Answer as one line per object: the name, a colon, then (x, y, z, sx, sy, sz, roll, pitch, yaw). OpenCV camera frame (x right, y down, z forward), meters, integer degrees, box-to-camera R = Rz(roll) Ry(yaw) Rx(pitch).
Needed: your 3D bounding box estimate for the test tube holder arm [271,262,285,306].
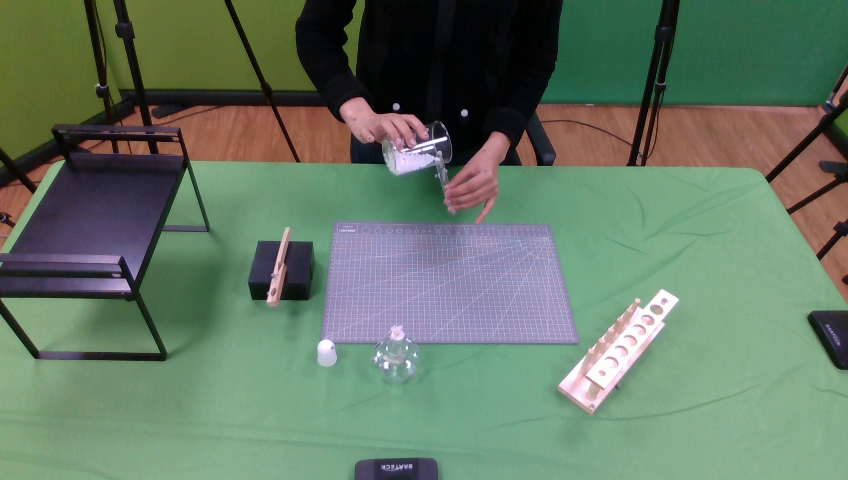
test tube holder arm: (-0.250, 0.075, 1.039, 0.010, 0.015, 0.087, -5, 46, 3)

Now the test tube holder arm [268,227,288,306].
test tube holder arm: (-0.258, 0.043, 1.071, 0.013, 0.015, 0.177, -6, 46, 2)

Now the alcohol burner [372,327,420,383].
alcohol burner: (-0.044, 0.175, 0.961, 0.078, 0.120, 0.077, 1, 47, -1)

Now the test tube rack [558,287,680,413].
test tube rack: (0.326, 0.170, 1.009, 0.066, 0.085, 0.242, 36, 54, 27)

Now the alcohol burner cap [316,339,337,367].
alcohol burner cap: (-0.161, 0.182, 0.995, 0.034, 0.048, 0.033, 2, 47, -1)

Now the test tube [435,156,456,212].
test tube: (0.041, -0.099, 1.110, 0.017, 0.151, 0.017, -7, 55, 10)

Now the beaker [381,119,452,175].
beaker: (-0.014, -0.150, 1.007, 0.100, 0.084, 0.073, -18, 54, -18)
